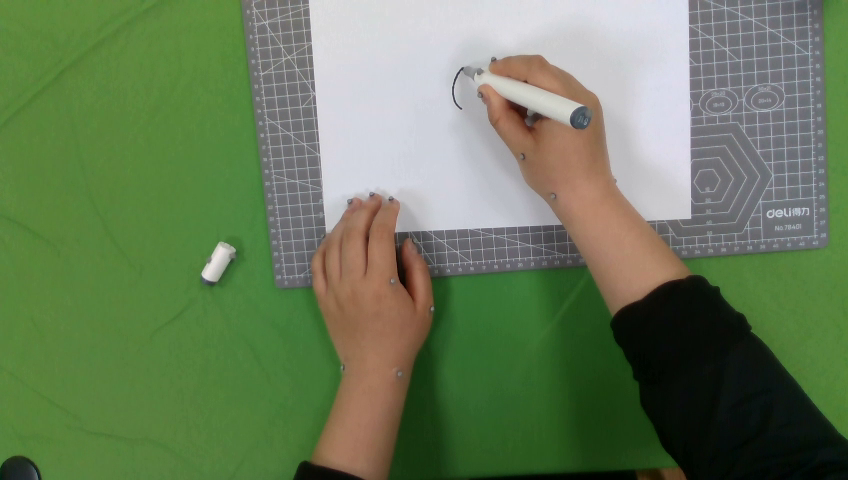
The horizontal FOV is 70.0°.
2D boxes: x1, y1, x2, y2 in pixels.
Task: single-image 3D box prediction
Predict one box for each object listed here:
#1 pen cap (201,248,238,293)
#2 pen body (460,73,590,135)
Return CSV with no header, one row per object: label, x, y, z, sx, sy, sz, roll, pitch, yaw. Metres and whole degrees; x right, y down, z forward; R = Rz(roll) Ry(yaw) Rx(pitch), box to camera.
pen cap,-0.176,0.027,0.518,0.017,0.017,0.038,33,97,2
pen body,0.065,-0.102,0.435,0.017,0.142,0.017,-16,123,-25
